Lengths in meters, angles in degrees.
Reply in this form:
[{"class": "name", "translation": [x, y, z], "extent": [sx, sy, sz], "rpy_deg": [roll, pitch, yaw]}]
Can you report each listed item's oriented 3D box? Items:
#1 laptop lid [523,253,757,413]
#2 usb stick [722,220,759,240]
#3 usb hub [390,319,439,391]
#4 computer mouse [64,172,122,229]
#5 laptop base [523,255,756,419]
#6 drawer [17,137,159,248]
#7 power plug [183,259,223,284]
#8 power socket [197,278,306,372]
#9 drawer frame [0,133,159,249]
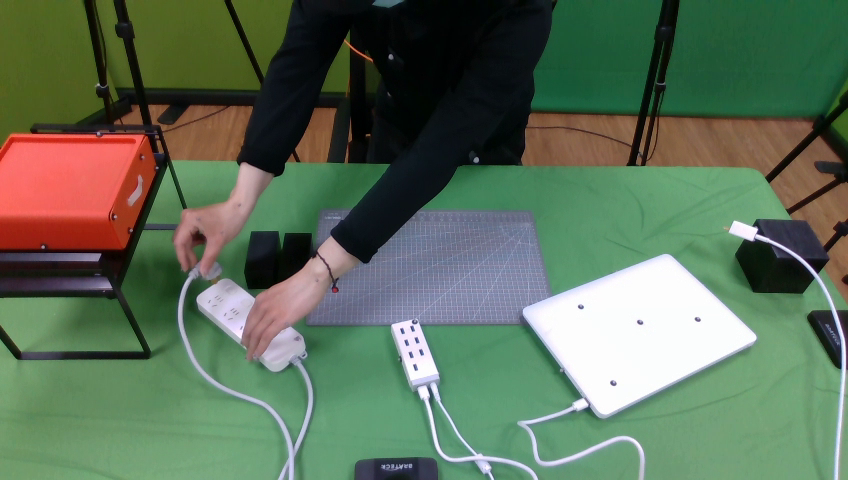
[{"class": "laptop lid", "translation": [0.380, 0.147, 1.073], "extent": [0.357, 0.013, 0.240], "rpy_deg": [-17, 48, -19]}, {"class": "usb stick", "translation": [0.593, -0.022, 1.139], "extent": [0.059, 0.027, 0.021], "rpy_deg": [22, 12, 28]}, {"class": "usb hub", "translation": [-0.016, 0.190, 1.013], "extent": [0.049, 0.025, 0.124], "rpy_deg": [-10, 48, -15]}, {"class": "computer mouse", "translation": [-0.521, -0.067, 0.955], "extent": [0.063, 0.041, 0.116], "rpy_deg": [0, 48, -9]}, {"class": "laptop base", "translation": [0.381, 0.157, 1.080], "extent": [0.355, 0.023, 0.234], "rpy_deg": [-18, 48, -21]}, {"class": "drawer", "translation": [-0.549, -0.079, 0.944], "extent": [0.212, 0.073, 0.193], "rpy_deg": [0, 47, -3]}, {"class": "power plug", "translation": [-0.369, 0.061, 1.008], "extent": [0.035, 0.053, 0.072], "rpy_deg": [19, 48, 36]}, {"class": "power socket", "translation": [-0.297, 0.141, 1.034], "extent": [0.226, 0.033, 0.072], "rpy_deg": [33, 53, 24]}, {"class": "drawer frame", "translation": [-0.553, -0.078, 0.942], "extent": [0.214, 0.083, 0.200], "rpy_deg": [-1, 47, -4]}]
